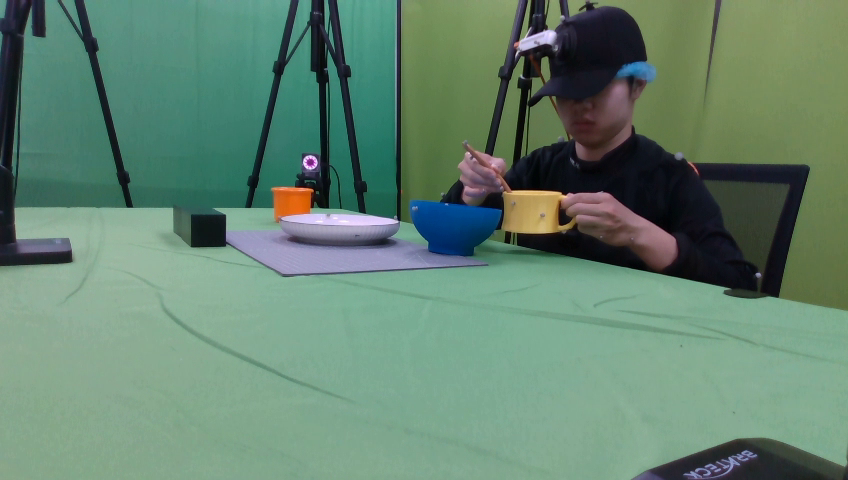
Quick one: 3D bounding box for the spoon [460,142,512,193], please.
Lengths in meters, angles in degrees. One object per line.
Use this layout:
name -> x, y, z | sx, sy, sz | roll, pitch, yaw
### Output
spoon -> 0.128, -0.093, 1.009 | 0.021, 0.194, 0.041 | -41, 7, -3

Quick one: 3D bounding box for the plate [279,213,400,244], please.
plate -> -0.147, -0.020, 1.060 | 0.209, 0.038, 0.209 | 3, 7, 0

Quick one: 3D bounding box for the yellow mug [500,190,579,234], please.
yellow mug -> 0.194, -0.048, 1.015 | 0.130, 0.064, 0.100 | 6, 10, 24

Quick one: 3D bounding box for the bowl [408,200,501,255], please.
bowl -> 0.045, -0.019, 0.967 | 0.151, 0.077, 0.151 | 6, 5, 0
